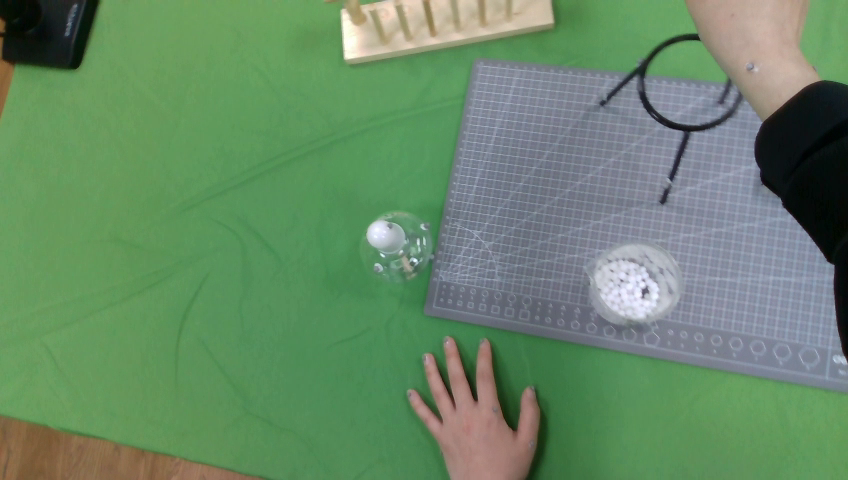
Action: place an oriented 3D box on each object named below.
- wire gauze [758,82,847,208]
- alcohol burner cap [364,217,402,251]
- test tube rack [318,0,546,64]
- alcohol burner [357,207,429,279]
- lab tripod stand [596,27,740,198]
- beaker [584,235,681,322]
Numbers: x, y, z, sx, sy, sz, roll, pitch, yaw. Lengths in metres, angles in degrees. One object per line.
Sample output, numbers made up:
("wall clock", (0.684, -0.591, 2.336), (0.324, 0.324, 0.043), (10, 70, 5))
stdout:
("wire gauze", (0.409, -0.095, 0.613), (0.125, 0.011, 0.121), (14, 82, 9))
("alcohol burner cap", (-0.042, -0.007, 0.587), (0.034, 0.048, 0.034), (-1, 83, 10))
("test tube rack", (0.011, -0.267, 0.674), (0.242, 0.085, 0.066), (-8, 79, 8))
("alcohol burner", (-0.035, 0.000, 0.622), (0.078, 0.120, 0.077), (-2, 78, 8))
("lab tripod stand", (0.238, -0.127, 0.583), (0.148, 0.132, 0.148), (-1, 81, 8))
("beaker", (0.192, 0.040, 0.580), (0.083, 0.101, 0.074), (15, 82, 13))
